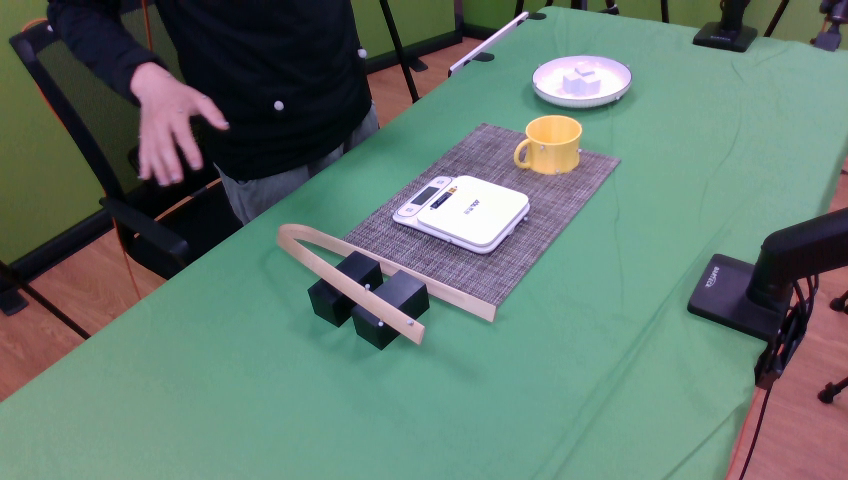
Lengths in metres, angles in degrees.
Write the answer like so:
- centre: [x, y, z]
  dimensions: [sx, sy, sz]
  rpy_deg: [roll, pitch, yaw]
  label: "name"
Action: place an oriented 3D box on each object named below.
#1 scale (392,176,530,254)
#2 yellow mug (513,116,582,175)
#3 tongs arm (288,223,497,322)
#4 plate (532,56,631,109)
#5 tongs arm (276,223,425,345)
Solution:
- centre: [0.060, -0.050, 1.006]
  dimensions: [0.199, 0.032, 0.149]
  rpy_deg: [22, 48, 30]
  label: "scale"
- centre: [0.220, -0.168, 1.094]
  dimensions: [0.131, 0.064, 0.099]
  rpy_deg: [-21, 42, -14]
  label: "yellow mug"
- centre: [-0.060, 0.043, 0.918]
  dimensions: [0.384, 0.028, 0.028]
  rpy_deg: [21, 24, 28]
  label: "tongs arm"
- centre: [0.336, -0.336, 1.301]
  dimensions: [0.207, 0.039, 0.206]
  rpy_deg: [-4, 41, 4]
  label: "plate"
- centre: [-0.114, 0.049, 0.856]
  dimensions: [0.051, 0.026, 0.381]
  rpy_deg: [-7, 24, -43]
  label: "tongs arm"
